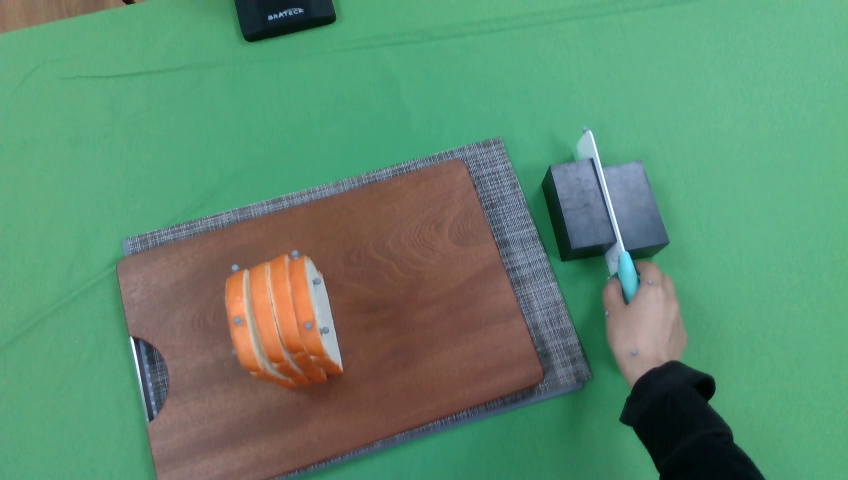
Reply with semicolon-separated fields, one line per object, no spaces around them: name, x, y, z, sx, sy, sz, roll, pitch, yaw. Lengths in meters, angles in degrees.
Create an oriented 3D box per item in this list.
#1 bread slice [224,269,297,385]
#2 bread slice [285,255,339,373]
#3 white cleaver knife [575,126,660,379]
bread slice;-0.155;0.082;0.575;0.019;0.132;0.104;-16;72;0
bread slice;-0.106;0.073;0.577;0.018;0.135;0.106;-15;77;-6
white cleaver knife;0.210;0.009;0.668;0.021;0.066;0.284;-10;74;2
